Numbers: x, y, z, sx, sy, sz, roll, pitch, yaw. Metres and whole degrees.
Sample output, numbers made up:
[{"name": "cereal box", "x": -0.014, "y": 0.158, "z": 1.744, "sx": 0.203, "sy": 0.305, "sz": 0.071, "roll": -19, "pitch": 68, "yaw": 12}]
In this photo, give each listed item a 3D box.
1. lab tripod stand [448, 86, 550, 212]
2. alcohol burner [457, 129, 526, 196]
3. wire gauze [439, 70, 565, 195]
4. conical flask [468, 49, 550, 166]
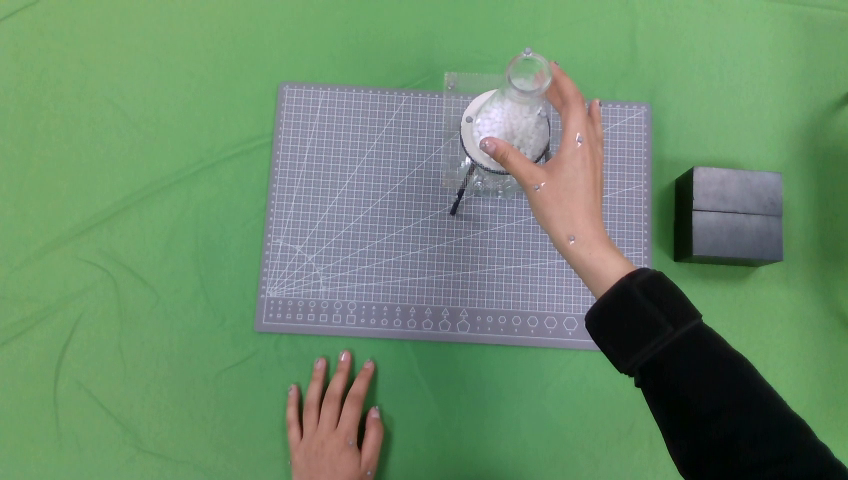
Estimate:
[{"name": "lab tripod stand", "x": 0.074, "y": -0.100, "z": 0.654, "sx": 0.148, "sy": 0.132, "sz": 0.148, "roll": 0, "pitch": 80, "yaw": 1}, {"name": "alcohol burner", "x": 0.075, "y": -0.089, "z": 0.662, "sx": 0.078, "sy": 0.119, "sz": 0.077, "roll": 0, "pitch": 81, "yaw": 1}, {"name": "wire gauze", "x": 0.077, "y": -0.107, "z": 0.589, "sx": 0.125, "sy": 0.011, "sz": 0.121, "roll": 3, "pitch": 82, "yaw": -3}, {"name": "conical flask", "x": 0.080, "y": -0.118, "z": 0.530, "sx": 0.075, "sy": 0.122, "sz": 0.075, "roll": 0, "pitch": 78, "yaw": 0}]
